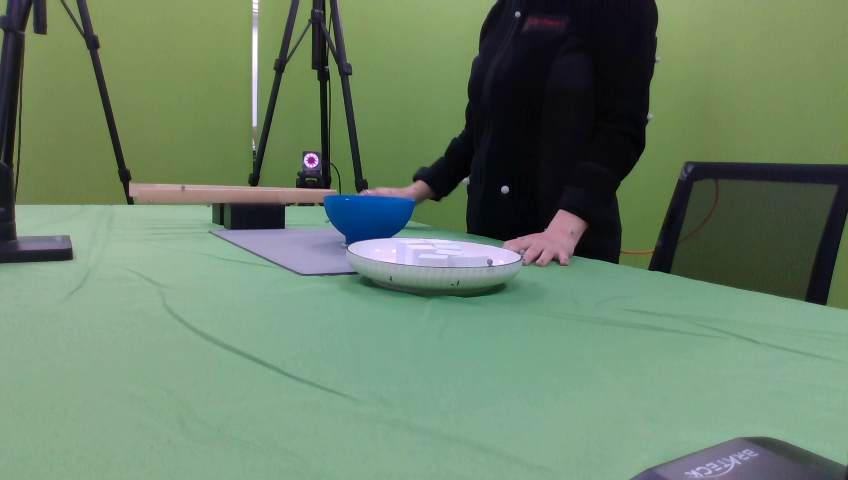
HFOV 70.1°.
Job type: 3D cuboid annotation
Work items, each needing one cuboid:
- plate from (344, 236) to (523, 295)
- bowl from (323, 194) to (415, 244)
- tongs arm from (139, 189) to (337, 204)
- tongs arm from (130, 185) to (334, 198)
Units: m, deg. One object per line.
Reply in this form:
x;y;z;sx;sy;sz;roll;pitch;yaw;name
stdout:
0.010;0.030;0.707;0.208;0.039;0.207;3;8;0;plate
-0.091;-0.032;0.987;0.151;0.077;0.151;2;7;0;bowl
-0.334;-0.083;1.145;0.387;0.026;0.050;-3;7;-35;tongs arm
-0.373;-0.094;1.212;0.389;0.028;0.028;-1;3;-22;tongs arm
